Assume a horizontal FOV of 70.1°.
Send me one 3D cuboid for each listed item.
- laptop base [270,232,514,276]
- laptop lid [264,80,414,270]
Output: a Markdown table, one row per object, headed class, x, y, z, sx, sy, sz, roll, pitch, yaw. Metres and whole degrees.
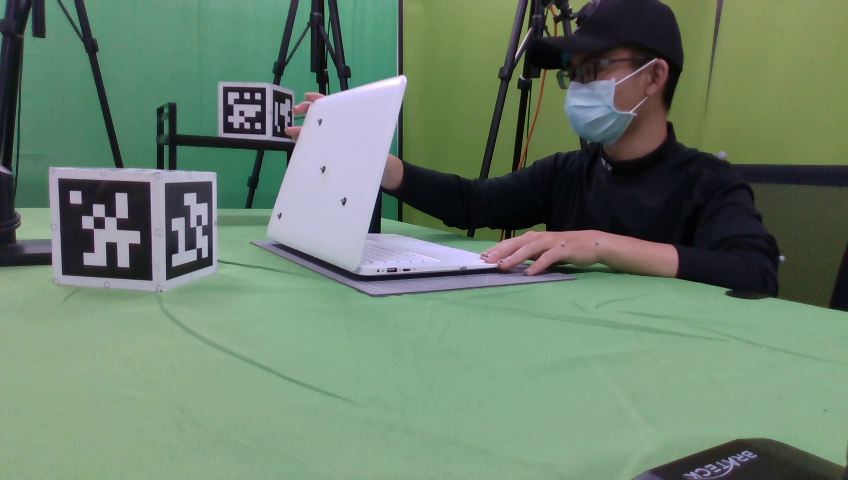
| class | x | y | z | sx | sy | sz | roll | pitch | yaw |
| --- | --- | --- | --- | --- | --- | --- | --- | --- | --- |
| laptop base | -0.066 | 0.017 | 0.893 | 0.237 | 0.023 | 0.352 | 2 | 6 | -32 |
| laptop lid | -0.135 | -0.097 | 0.833 | 0.013 | 0.241 | 0.355 | 20 | -2 | -31 |
